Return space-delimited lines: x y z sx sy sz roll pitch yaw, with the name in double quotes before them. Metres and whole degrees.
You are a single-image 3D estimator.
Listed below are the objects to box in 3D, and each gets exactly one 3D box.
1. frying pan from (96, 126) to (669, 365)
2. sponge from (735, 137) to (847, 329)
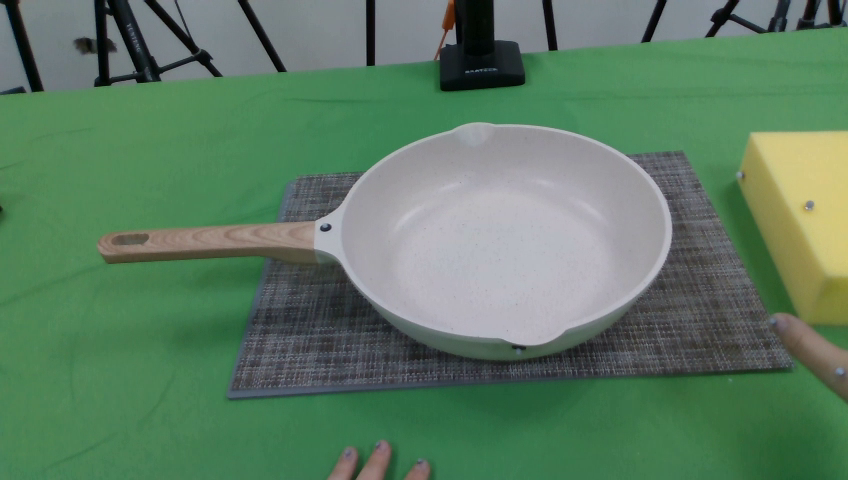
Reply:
"frying pan" -0.037 0.000 0.547 0.489 0.103 0.303 0 40 -5
"sponge" 0.377 -0.014 0.549 0.118 0.061 0.205 0 41 7
